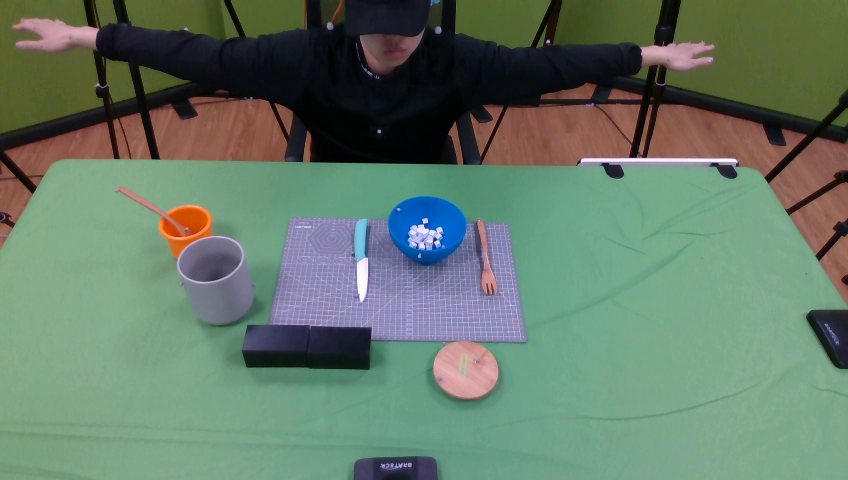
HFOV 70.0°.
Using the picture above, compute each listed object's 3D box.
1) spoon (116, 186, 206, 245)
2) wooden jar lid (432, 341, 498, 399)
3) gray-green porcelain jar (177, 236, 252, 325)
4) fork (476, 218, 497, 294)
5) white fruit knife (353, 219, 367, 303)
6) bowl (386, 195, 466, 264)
[{"bbox_3d":[-0.474,-0.041,1.112,0.021,0.195,0.041,-30,32,29],"label":"spoon"},{"bbox_3d":[0.067,0.216,0.997,0.108,0.021,0.107,1,46,-1],"label":"wooden jar lid"},{"bbox_3d":[-0.350,0.073,1.027,0.106,0.127,0.105,3,46,-3],"label":"gray-green porcelain jar"},{"bbox_3d":[0.118,0.027,1.178,0.028,0.019,0.206,-4,48,1],"label":"fork"},{"bbox_3d":[-0.122,0.036,1.153,0.027,0.016,0.206,-10,47,5],"label":"white fruit knife"},{"bbox_3d":[0.003,-0.008,1.162,0.151,0.077,0.150,2,46,-2],"label":"bowl"}]
